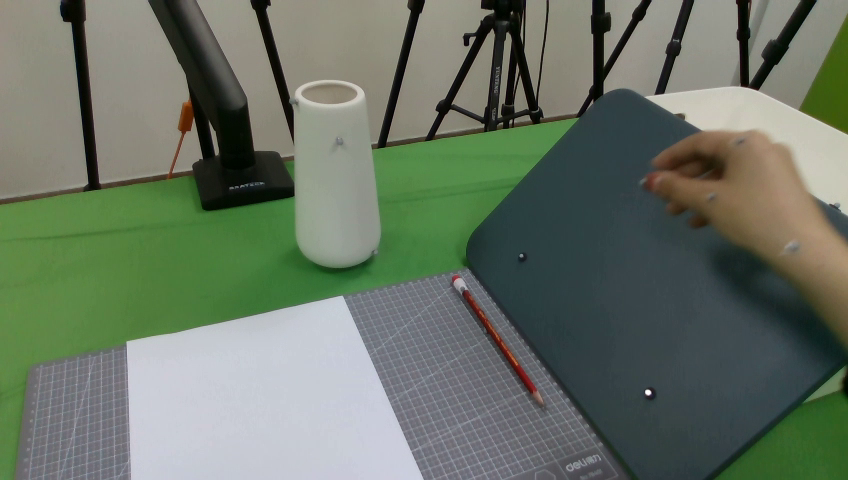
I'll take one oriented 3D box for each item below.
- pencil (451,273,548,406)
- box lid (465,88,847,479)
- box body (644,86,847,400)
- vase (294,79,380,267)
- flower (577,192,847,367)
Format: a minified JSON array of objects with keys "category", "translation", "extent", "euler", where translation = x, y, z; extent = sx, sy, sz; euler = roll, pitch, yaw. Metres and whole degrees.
[{"category":"pencil","translation":[0.072,0.094,0.609],"extent":[0.012,0.012,0.192],"euler":[-13,40,-21]},{"category":"box lid","translation":[0.202,0.018,0.571],"extent":[0.015,0.263,0.367],"euler":[33,14,-41]},{"category":"box body","translation":[0.362,-0.019,0.663],"extent":[0.255,0.162,0.359],"euler":[-12,38,-19]},{"category":"vase","translation":[-0.099,-0.069,0.663],"extent":[0.098,0.201,0.097],"euler":[1,35,0]},{"category":"flower","translation":[0.326,0.043,0.694],"extent":[0.358,0.038,0.044],"euler":[38,10,31]}]
